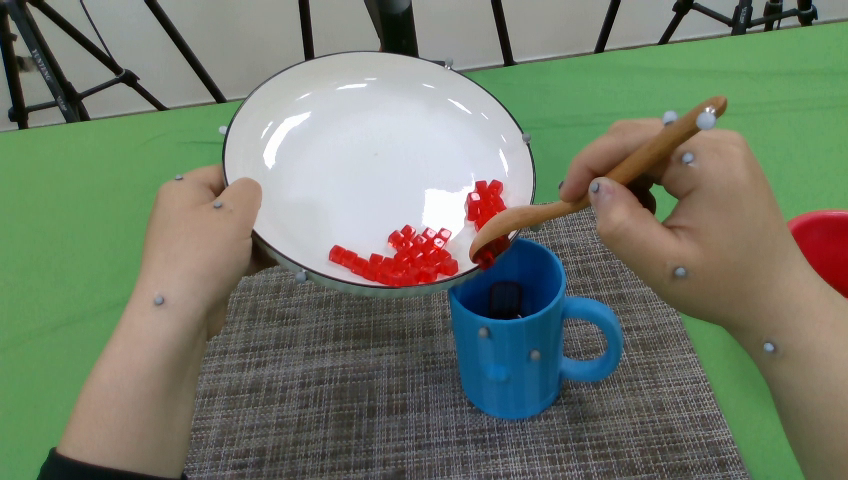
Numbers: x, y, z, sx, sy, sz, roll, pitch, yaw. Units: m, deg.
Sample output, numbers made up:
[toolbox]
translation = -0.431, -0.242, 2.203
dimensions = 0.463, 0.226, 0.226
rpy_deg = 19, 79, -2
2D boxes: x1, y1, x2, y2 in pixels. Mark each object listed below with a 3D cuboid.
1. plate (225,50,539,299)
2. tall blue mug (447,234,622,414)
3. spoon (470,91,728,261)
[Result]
[plate]
translation = -0.026, -0.048, 0.416
dimensions = 0.208, 0.039, 0.205
rpy_deg = 5, 56, -6
[tall blue mug]
translation = 0.074, 0.057, 0.421
dimensions = 0.107, 0.109, 0.077
rpy_deg = -12, 42, -2
[spoon]
translation = 0.072, -0.022, 0.296
dimensions = 0.041, 0.193, 0.021
rpy_deg = -32, 90, -27
